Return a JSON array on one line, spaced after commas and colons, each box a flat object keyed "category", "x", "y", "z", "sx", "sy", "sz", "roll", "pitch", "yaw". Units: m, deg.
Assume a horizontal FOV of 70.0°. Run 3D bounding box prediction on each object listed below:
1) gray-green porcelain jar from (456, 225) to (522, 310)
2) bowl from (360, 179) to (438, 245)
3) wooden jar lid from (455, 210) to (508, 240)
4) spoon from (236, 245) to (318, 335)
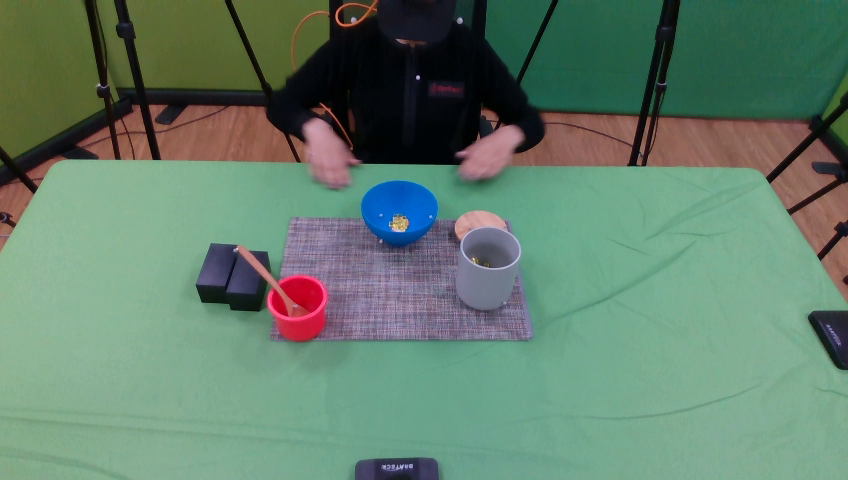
[{"category": "gray-green porcelain jar", "x": 0.111, "y": 0.054, "z": 1.076, "sx": 0.106, "sy": 0.127, "sz": 0.105, "roll": 2, "pitch": 46, "yaw": -2}, {"category": "bowl", "x": -0.049, "y": -0.042, "z": 1.190, "sx": 0.151, "sy": 0.077, "sz": 0.150, "roll": 2, "pitch": 46, "yaw": -2}, {"category": "wooden jar lid", "x": 0.115, "y": -0.018, "z": 1.220, "sx": 0.108, "sy": 0.021, "sz": 0.107, "roll": 3, "pitch": 47, "yaw": -3}, {"category": "spoon", "x": -0.245, "y": 0.082, "z": 1.011, "sx": 0.194, "sy": 0.021, "sz": 0.041, "roll": 55, "pitch": 52, "yaw": -15}]
